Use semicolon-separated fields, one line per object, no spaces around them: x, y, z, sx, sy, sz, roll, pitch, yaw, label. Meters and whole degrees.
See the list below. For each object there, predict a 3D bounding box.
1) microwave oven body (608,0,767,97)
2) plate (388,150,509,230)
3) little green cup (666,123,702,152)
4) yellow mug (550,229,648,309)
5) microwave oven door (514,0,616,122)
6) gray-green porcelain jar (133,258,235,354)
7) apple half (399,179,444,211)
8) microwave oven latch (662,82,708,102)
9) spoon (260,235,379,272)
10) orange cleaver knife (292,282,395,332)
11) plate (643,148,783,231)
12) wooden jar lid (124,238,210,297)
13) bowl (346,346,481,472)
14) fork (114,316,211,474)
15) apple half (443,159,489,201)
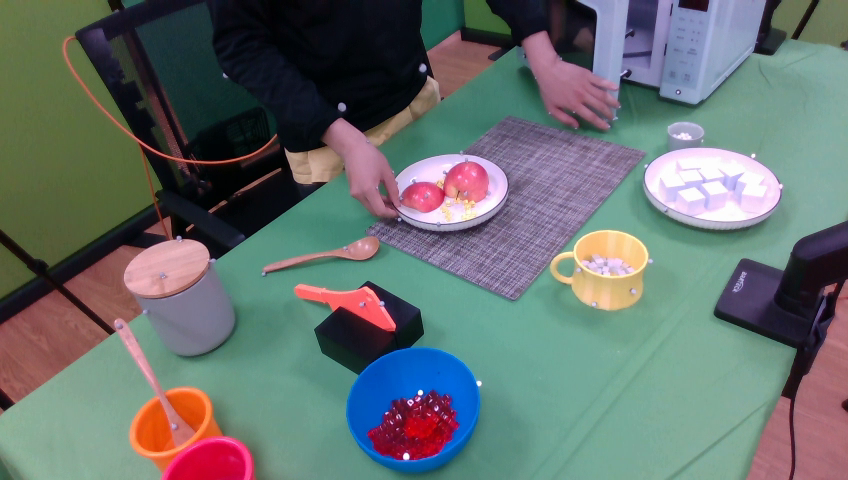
0.474;-0.517;1.314;0.438;0.261;0.327;26;51;34;microwave oven body
0.044;-0.083;1.042;0.209;0.038;0.208;-4;40;4;plate
0.472;-0.183;1.103;0.061;0.039;0.061;-5;39;5;little green cup
0.245;0.039;0.857;0.130;0.064;0.099;1;42;11;yellow mug
0.282;-0.424;1.227;0.039;0.245;0.352;-19;42;-14;microwave oven door
-0.327;0.086;0.836;0.106;0.127;0.105;-4;41;4;gray-green porcelain jar
-0.003;-0.088;1.045;0.081;0.033;0.081;-1;42;1;apple half
0.518;-0.298;1.203;0.078;0.029;0.030;28;53;35;microwave oven latch
-0.167;0.024;0.966;0.194;0.022;0.041;-10;58;-3;spoon
-0.115;0.091;0.835;0.209;0.077;0.012;2;32;48;orange cleaver knife
0.464;-0.080;0.986;0.207;0.039;0.206;-4;40;4;plate
-0.335;0.038;0.794;0.108;0.021;0.108;-2;40;2;wooden jar lid
-0.008;0.205;0.691;0.151;0.077;0.150;-4;40;4;bowl
-0.309;0.179;0.708;0.028;0.018;0.207;-30;89;-23;fork
0.074;-0.111;1.047;0.080;0.053;0.075;21;45;30;apple half
